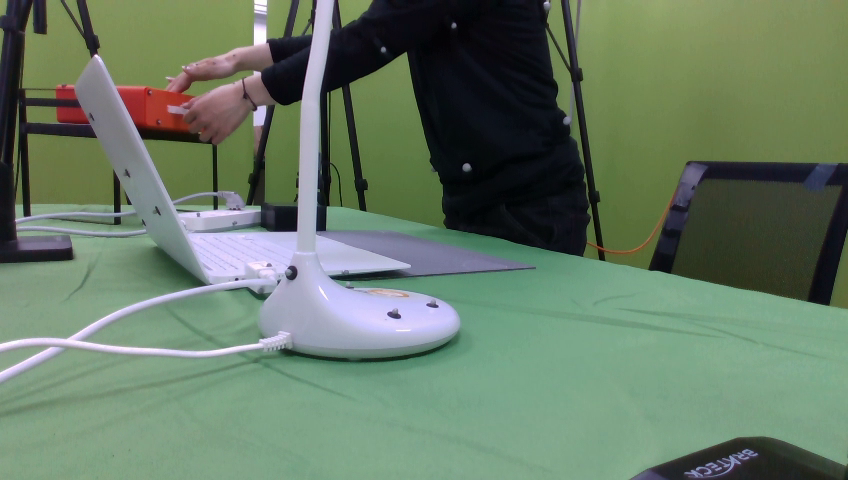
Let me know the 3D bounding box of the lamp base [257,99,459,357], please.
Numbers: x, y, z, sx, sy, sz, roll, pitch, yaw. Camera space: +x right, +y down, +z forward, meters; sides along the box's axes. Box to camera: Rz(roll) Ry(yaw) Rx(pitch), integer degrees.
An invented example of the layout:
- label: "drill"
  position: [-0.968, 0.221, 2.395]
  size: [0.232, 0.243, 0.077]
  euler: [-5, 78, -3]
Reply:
- label: "lamp base"
  position: [-0.055, -0.014, 0.463]
  size: [0.160, 0.180, 0.180]
  euler: [6, 11, 27]

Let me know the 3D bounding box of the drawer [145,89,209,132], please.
- label: "drawer"
  position: [-0.595, -0.269, 1.264]
  size: [0.211, 0.073, 0.195]
  euler: [4, 8, 15]

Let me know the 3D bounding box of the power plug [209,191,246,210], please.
- label: "power plug"
  position: [-0.387, -0.071, 1.204]
  size: [0.072, 0.052, 0.035]
  euler: [4, 8, 26]

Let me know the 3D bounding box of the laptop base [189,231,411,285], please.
- label: "laptop base"
  position: [-0.204, 0.019, 0.807]
  size: [0.237, 0.023, 0.352]
  euler: [0, 7, -33]

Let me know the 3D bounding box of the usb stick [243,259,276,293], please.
- label: "usb stick"
  position: [-0.166, 0.035, 0.604]
  size: [0.021, 0.027, 0.059]
  euler: [-8, 8, -28]

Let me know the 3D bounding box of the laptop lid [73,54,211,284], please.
- label: "laptop lid"
  position: [-0.341, -0.079, 0.704]
  size: [0.013, 0.242, 0.355]
  euler: [-30, 23, -26]

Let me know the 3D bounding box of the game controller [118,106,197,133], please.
- label: "game controller"
  position: [-0.555, -0.252, 1.255]
  size: [0.097, 0.051, 0.155]
  euler: [10, 12, 17]

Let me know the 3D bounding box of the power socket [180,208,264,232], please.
- label: "power socket"
  position: [-0.381, -0.038, 1.128]
  size: [0.072, 0.032, 0.227]
  euler: [5, 8, 16]

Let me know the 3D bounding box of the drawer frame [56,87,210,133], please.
- label: "drawer frame"
  position: [-0.598, -0.269, 1.261]
  size: [0.213, 0.082, 0.202]
  euler: [4, 8, 14]
